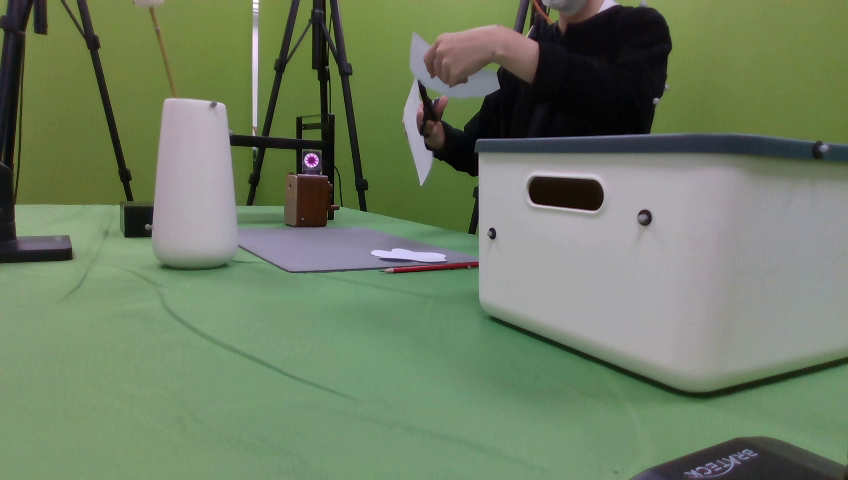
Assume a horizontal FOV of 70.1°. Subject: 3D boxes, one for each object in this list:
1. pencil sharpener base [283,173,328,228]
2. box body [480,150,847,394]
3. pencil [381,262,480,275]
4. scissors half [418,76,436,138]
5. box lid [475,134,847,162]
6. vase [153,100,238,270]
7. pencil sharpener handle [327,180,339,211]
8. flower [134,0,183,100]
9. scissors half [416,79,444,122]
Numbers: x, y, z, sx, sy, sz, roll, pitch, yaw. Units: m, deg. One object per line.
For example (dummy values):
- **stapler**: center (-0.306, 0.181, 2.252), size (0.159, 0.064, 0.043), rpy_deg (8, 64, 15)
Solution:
- **pencil sharpener base**: center (-0.239, -0.081, 1.231), size (0.077, 0.107, 0.061), rpy_deg (-2, 8, -36)
- **box body**: center (0.254, 0.001, 0.539), size (0.366, 0.160, 0.253), rpy_deg (-2, 9, -31)
- **pencil**: center (0.030, 0.036, 0.794), size (0.195, 0.012, 0.012), rpy_deg (-3, 9, -30)
- **scissors half**: center (0.001, -0.238, 1.092), size (0.013, 0.040, 0.175), rpy_deg (27, -20, 18)
- **box lid**: center (0.256, -0.073, 0.528), size (0.373, 0.015, 0.262), rpy_deg (-2, 8, -31)
- **vase**: center (-0.278, -0.066, 0.736), size (0.098, 0.200, 0.098), rpy_deg (2, 9, 0)
- **pencil sharpener handle**: center (-0.194, -0.094, 1.256), size (0.031, 0.067, 0.036), rpy_deg (-2, -5, -36)
- **flower**: center (-0.282, -0.147, 0.713), size (0.038, 0.362, 0.044), rpy_deg (-23, 24, -31)
- **scissors half**: center (0.011, -0.256, 1.096), size (0.013, 0.040, 0.176), rpy_deg (22, 0, 17)
